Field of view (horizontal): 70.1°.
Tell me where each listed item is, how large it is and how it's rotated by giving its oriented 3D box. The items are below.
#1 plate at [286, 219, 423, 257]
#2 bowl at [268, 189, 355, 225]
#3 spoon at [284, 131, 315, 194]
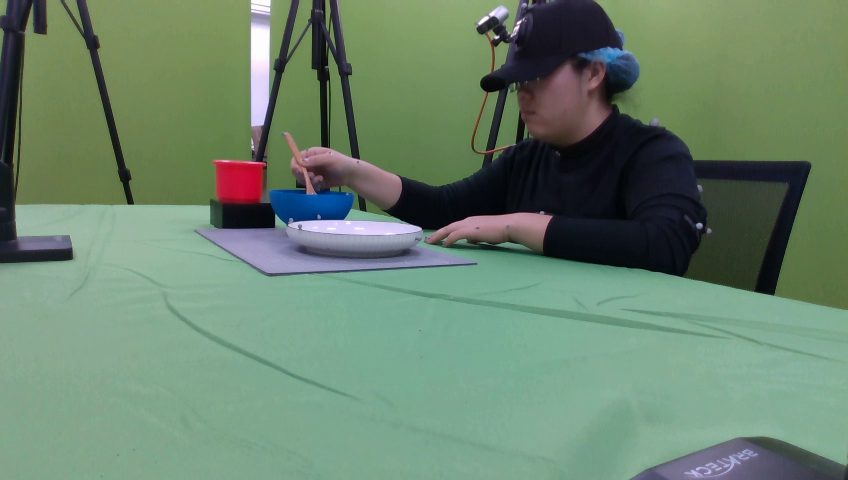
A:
[{"bbox_3d":[-0.105,-0.004,0.922,0.208,0.039,0.207,3,8,0],"label":"plate"},{"bbox_3d":[-0.201,-0.048,1.078,0.151,0.077,0.151,3,8,0],"label":"bowl"},{"bbox_3d":[-0.215,-0.116,1.091,0.042,0.193,0.021,-10,-16,-38],"label":"spoon"}]
